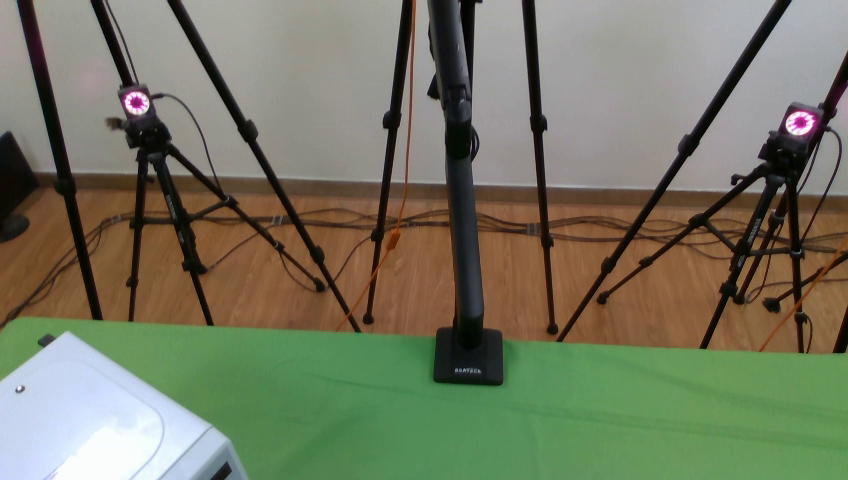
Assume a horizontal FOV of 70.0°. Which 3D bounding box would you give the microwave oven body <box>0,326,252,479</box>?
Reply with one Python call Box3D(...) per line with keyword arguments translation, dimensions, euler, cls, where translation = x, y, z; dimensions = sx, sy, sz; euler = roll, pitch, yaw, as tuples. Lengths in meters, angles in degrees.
Box3D(translation=(-0.467, 0.375, 0.701), dimensions=(0.324, 0.262, 0.440), euler=(23, 49, 22), cls="microwave oven body")
